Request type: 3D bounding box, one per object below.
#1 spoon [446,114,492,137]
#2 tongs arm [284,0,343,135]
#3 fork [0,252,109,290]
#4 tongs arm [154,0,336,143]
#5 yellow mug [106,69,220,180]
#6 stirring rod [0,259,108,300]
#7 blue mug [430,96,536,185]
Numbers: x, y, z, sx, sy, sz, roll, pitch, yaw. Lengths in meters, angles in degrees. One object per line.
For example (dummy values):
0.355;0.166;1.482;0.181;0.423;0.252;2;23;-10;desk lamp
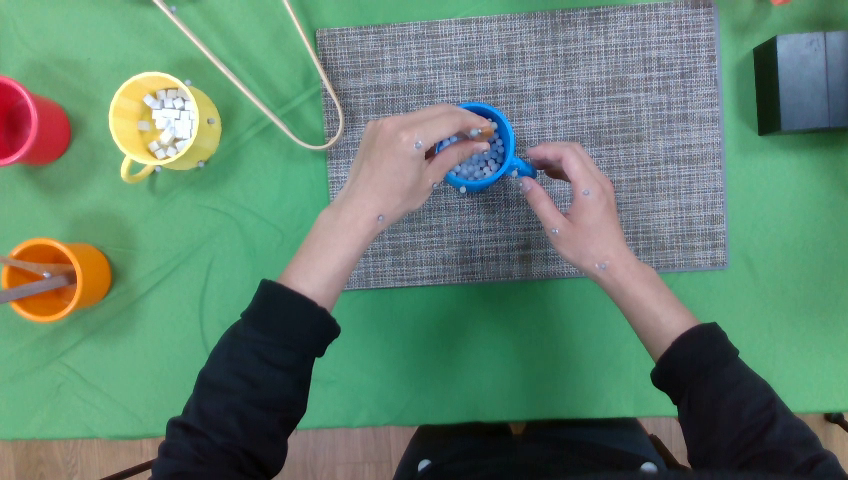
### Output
0.046;-0.103;0.554;0.042;0.193;0.022;6;103;-3;spoon
-0.180;-0.296;0.664;0.028;0.027;0.388;-29;98;-5;tongs arm
-0.449;0.018;0.651;0.209;0.018;0.028;24;88;-42;fork
-0.248;-0.245;0.666;0.051;0.026;0.386;-42;98;0;tongs arm
-0.299;-0.122;0.680;0.100;0.064;0.131;35;95;-1;yellow mug
-0.438;0.052;0.659;0.176;0.006;0.014;-20;88;-39;stirring rod
0.065;-0.096;0.645;0.116;0.106;0.082;22;93;1;blue mug
